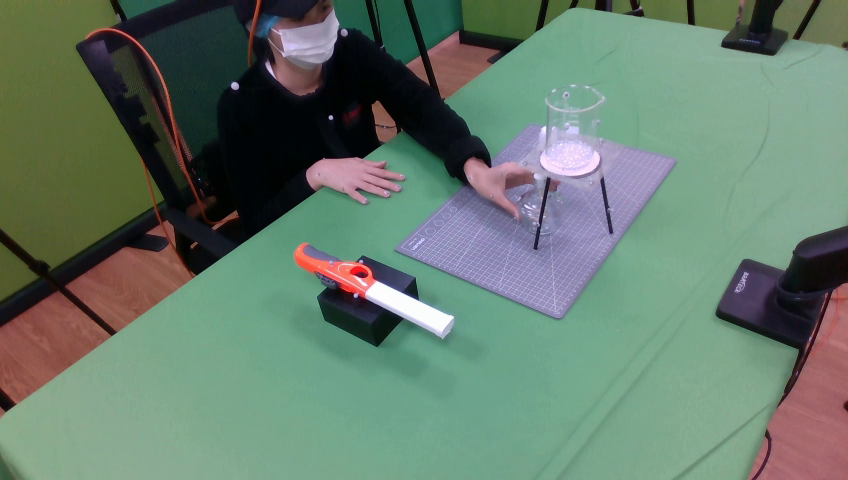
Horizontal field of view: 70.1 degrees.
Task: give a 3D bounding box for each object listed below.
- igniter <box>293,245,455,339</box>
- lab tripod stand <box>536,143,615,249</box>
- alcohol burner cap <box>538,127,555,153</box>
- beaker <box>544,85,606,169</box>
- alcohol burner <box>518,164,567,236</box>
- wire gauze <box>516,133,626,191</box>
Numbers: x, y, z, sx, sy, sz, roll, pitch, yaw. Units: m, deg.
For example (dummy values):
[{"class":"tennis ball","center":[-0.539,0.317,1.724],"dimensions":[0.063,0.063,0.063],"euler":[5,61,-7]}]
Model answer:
[{"class":"igniter","center":[-0.079,0.066,0.834],"dimensions":[0.274,0.025,0.057],"euler":[23,48,27]},{"class":"lab tripod stand","center":[0.224,-0.069,0.931],"dimensions":[0.148,0.132,0.147],"euler":[-4,42,4]},{"class":"alcohol burner cap","center":[0.234,-0.191,1.147],"dimensions":[0.034,0.048,0.033],"euler":[-5,40,5]},{"class":"beaker","center":[0.212,-0.158,0.861],"dimensions":[0.084,0.101,0.073],"euler":[-3,41,6]},{"class":"alcohol burner","center":[0.185,-0.067,0.950],"dimensions":[0.078,0.119,0.077],"euler":[-6,40,6]},{"class":"wire gauze","center":[0.217,-0.122,0.893],"dimensions":[0.124,0.011,0.122],"euler":[20,47,32]}]
